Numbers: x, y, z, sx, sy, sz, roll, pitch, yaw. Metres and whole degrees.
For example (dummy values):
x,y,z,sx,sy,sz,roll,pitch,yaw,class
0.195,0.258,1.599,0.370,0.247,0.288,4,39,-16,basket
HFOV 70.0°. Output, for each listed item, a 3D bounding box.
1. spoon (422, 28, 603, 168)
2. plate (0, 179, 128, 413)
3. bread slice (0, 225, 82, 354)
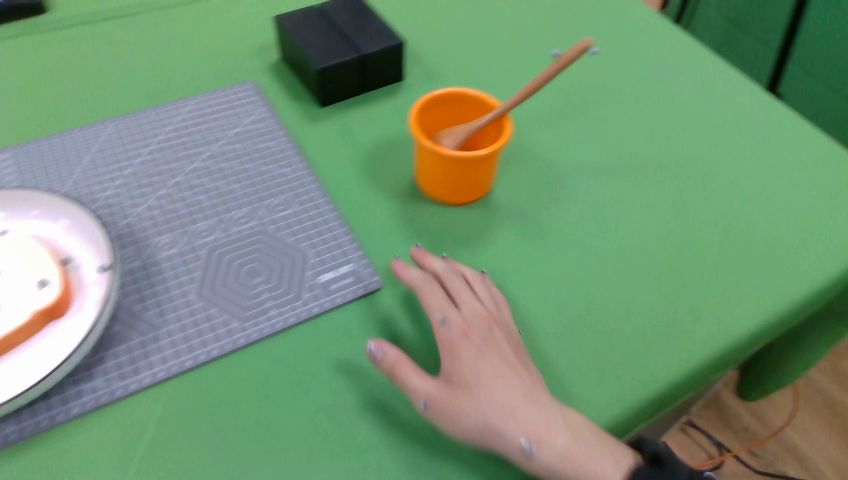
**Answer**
x,y,z,sx,sy,sz,roll,pitch,yaw,class
0.070,-0.123,0.531,0.193,0.022,0.041,-30,53,23,spoon
-0.327,0.043,0.449,0.209,0.038,0.207,3,54,-3,plate
-0.332,0.042,0.453,0.131,0.019,0.104,-37,65,-25,bread slice
